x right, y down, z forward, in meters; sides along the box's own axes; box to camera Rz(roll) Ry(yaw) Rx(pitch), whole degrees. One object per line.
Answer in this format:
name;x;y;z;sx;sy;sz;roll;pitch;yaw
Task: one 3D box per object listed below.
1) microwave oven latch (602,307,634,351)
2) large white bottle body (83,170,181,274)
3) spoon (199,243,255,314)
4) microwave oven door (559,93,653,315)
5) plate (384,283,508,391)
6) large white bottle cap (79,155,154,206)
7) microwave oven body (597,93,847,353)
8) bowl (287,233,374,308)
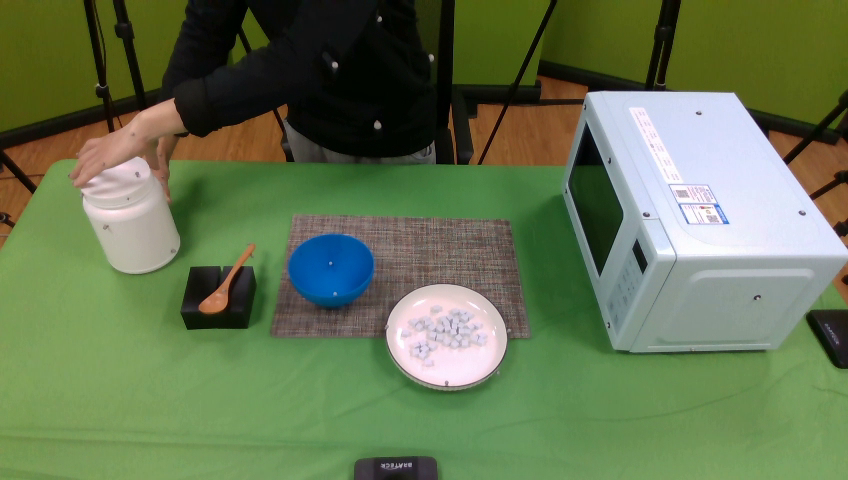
microwave oven latch;0.332;0.153;1.044;0.030;0.029;0.078;0;45;-4
large white bottle body;-0.524;-0.044;1.088;0.131;0.185;0.130;2;45;-2
spoon;-0.333;0.063;1.051;0.041;0.022;0.193;6;40;9
microwave oven door;0.327;-0.074;1.123;0.039;0.245;0.353;-1;46;-5
plate;0.036;0.166;1.029;0.209;0.038;0.208;2;49;-2
large white bottle cap;-0.520;-0.103;1.027;0.115;0.018;0.114;3;47;-3
microwave oven body;0.475;-0.041;1.109;0.326;0.261;0.438;-1;45;-4
bowl;-0.164;0.068;1.078;0.151;0.077;0.150;2;46;-2
